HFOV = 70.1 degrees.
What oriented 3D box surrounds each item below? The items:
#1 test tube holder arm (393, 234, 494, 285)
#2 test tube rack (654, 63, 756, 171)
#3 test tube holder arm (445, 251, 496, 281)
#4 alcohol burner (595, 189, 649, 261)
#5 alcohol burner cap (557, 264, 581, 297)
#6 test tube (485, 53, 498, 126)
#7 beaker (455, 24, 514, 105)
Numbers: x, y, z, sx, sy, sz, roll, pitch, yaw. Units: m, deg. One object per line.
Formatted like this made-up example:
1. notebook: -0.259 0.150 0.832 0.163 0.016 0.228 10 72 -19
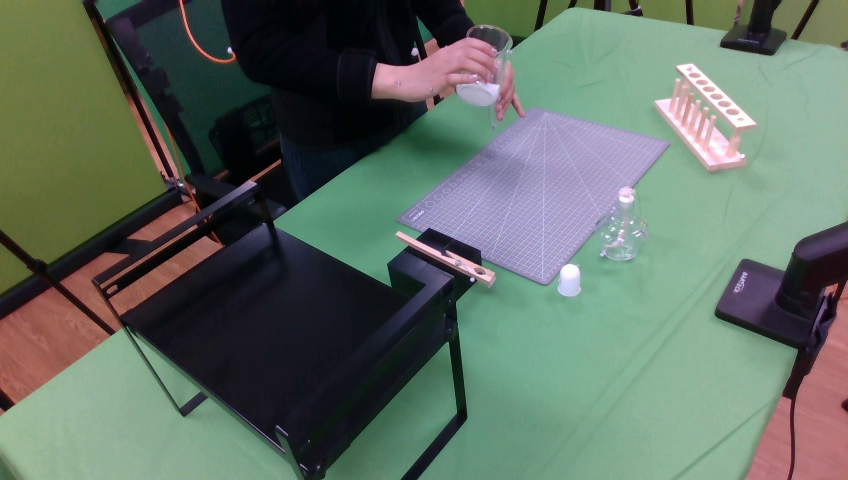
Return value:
1. test tube holder arm: 0.024 0.026 0.871 0.177 0.015 0.013 22 56 31
2. test tube rack: 0.510 -0.233 1.120 0.067 0.085 0.241 -8 41 -1
3. test tube holder arm: 0.063 0.036 0.851 0.087 0.015 0.010 23 56 32
4. alcohol burner: 0.294 -0.028 0.894 0.078 0.119 0.077 -4 43 5
5. alcohol burner cap: 0.208 0.055 0.866 0.034 0.048 0.033 -4 42 4
6. test tube: 0.118 -0.256 1.045 0.017 0.151 0.017 -5 51 6
7. beaker: 0.092 -0.267 0.938 0.074 0.084 0.100 13 78 7
